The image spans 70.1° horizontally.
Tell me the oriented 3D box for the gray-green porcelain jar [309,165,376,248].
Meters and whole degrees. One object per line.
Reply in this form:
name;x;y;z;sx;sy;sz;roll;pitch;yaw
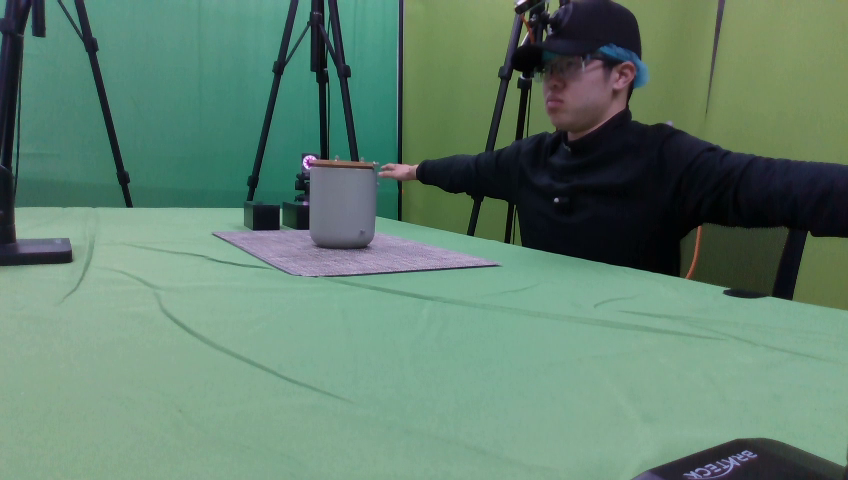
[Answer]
gray-green porcelain jar;-0.130;-0.054;0.966;0.106;0.126;0.106;2;7;0

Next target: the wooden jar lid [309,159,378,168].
wooden jar lid;-0.128;-0.117;0.957;0.108;0.020;0.108;3;7;0
